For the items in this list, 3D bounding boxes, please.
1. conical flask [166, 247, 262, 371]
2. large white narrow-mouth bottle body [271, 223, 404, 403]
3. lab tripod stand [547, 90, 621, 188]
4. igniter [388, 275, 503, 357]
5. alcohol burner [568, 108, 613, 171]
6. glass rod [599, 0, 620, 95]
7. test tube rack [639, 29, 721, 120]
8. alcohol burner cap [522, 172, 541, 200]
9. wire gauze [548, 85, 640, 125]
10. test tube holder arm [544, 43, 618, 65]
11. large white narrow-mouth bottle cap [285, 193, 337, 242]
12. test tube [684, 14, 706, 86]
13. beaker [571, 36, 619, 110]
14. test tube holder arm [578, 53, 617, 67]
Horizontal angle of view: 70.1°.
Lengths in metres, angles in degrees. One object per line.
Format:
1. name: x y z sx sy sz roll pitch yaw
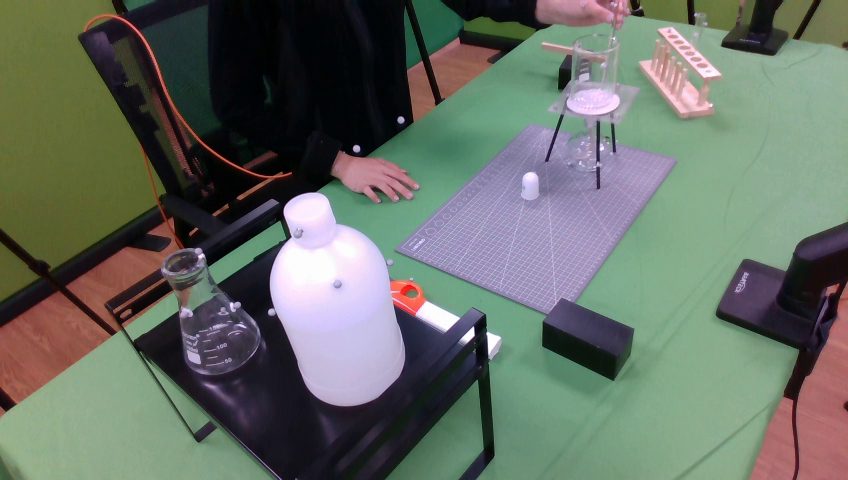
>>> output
1. conical flask: -0.209 0.064 0.585 0.075 0.122 0.075 -4 40 4
2. large white narrow-mouth bottle body: -0.077 0.048 0.525 0.102 0.195 0.101 -5 40 4
3. lab tripod stand: 0.289 -0.184 1.062 0.148 0.132 0.147 -6 41 6
4. igniter: -0.008 0.093 0.870 0.274 0.025 0.057 24 60 33
5. alcohol burner: 0.296 -0.182 1.074 0.078 0.119 0.077 -5 43 5
6. glass rod: 0.297 -0.320 0.960 0.008 0.200 0.008 -2 44 2
7. test tube rack: 0.527 -0.351 1.262 0.067 0.085 0.241 -8 40 1
8. alcohol burner cap: 0.186 -0.096 1.047 0.034 0.048 0.033 -5 39 4
9. wire gauze: 0.286 -0.234 1.020 0.124 0.011 0.122 15 44 30
10. test tube holder arm: 0.345 -0.413 1.341 0.177 0.015 0.013 25 49 32
11. large white narrow-mouth bottle cap: -0.087 -0.018 0.467 0.038 0.024 0.037 -4 40 4
12. test tube: 0.541 -0.378 1.216 0.017 0.151 0.017 -2 44 3
13. beaker: 0.281 -0.273 0.992 0.084 0.101 0.073 -24 42 -16
14. test tube holder arm: 0.376 -0.393 1.314 0.087 0.015 0.010 26 50 32
